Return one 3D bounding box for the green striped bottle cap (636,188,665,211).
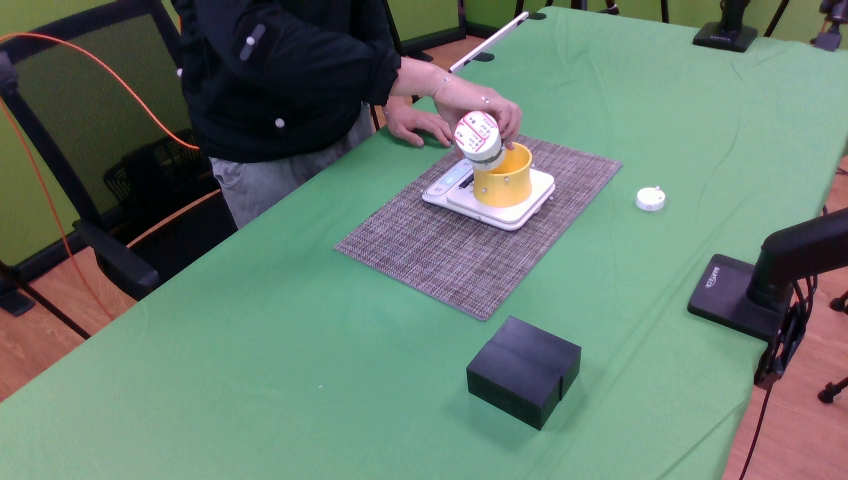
[{"bbox_3d":[0.374,-0.067,0.998,0.044,0.020,0.044,-6,39,5],"label":"green striped bottle cap"}]

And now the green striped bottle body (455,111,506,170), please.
[{"bbox_3d":[0.088,-0.143,0.904,0.063,0.120,0.063,-2,81,14],"label":"green striped bottle body"}]

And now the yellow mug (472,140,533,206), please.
[{"bbox_3d":[0.125,-0.121,1.004,0.100,0.064,0.130,-13,41,-5],"label":"yellow mug"}]

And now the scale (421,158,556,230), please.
[{"bbox_3d":[0.110,-0.089,1.042,0.199,0.032,0.149,23,48,31],"label":"scale"}]
